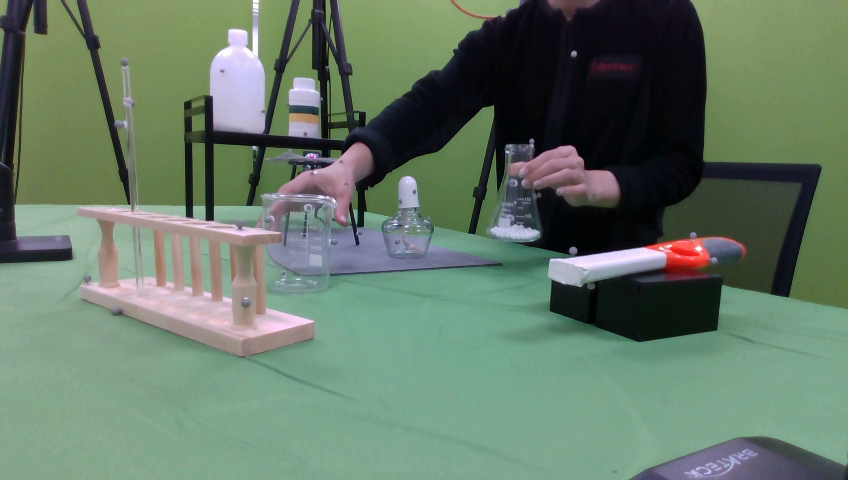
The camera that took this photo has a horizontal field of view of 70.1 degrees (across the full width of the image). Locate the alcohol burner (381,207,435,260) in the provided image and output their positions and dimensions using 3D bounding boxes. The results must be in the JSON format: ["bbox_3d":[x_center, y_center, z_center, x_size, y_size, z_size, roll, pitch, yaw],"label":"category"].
[{"bbox_3d":[-0.023,-0.032,0.871,0.078,0.119,0.078,0,6,0],"label":"alcohol burner"}]

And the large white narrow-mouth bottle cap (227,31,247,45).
[{"bbox_3d":[-0.361,-0.388,1.166,0.038,0.024,0.037,1,7,0],"label":"large white narrow-mouth bottle cap"}]

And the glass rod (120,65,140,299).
[{"bbox_3d":[-0.249,-0.047,0.513,0.008,0.199,0.008,-1,4,0],"label":"glass rod"}]

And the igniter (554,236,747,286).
[{"bbox_3d":[0.221,0.017,0.558,0.278,0.025,0.057,-4,14,-39],"label":"igniter"}]

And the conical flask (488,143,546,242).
[{"bbox_3d":[0.122,-0.062,0.779,0.075,0.122,0.075,1,14,0],"label":"conical flask"}]

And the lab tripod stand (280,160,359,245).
[{"bbox_3d":[-0.176,-0.062,0.973,0.148,0.131,0.148,1,7,0],"label":"lab tripod stand"}]

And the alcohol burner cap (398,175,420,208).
[{"bbox_3d":[-0.023,-0.068,0.865,0.034,0.048,0.034,-4,7,1],"label":"alcohol burner cap"}]

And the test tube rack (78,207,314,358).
[{"bbox_3d":[-0.197,0.024,0.499,0.241,0.085,0.067,8,8,37],"label":"test tube rack"}]

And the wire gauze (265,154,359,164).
[{"bbox_3d":[-0.181,-0.129,0.969,0.126,0.011,0.121,-1,7,-27],"label":"wire gauze"}]

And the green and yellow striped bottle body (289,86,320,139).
[{"bbox_3d":[-0.250,-0.272,1.261,0.063,0.119,0.063,3,7,0],"label":"green and yellow striped bottle body"}]

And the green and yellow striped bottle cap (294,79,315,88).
[{"bbox_3d":[-0.248,-0.323,1.256,0.045,0.020,0.045,4,9,0],"label":"green and yellow striped bottle cap"}]

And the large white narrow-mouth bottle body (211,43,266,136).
[{"bbox_3d":[-0.361,-0.302,1.176,0.102,0.194,0.102,1,7,0],"label":"large white narrow-mouth bottle body"}]

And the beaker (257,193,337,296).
[{"bbox_3d":[-0.130,0.003,0.628,0.084,0.100,0.074,5,8,15],"label":"beaker"}]
